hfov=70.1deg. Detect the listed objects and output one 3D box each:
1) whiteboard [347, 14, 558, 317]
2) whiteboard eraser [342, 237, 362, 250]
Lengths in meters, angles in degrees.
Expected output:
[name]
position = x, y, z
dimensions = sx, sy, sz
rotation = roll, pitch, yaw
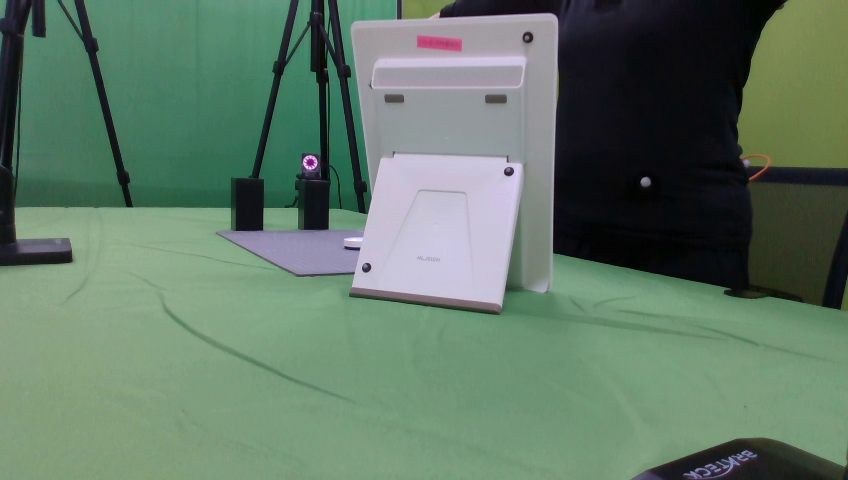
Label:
[whiteboard]
position = 0.012, -0.056, 0.609
dimensions = 0.216, 0.305, 0.144
rotation = 5, 27, 20
[whiteboard eraser]
position = -0.082, 0.004, 0.968
dimensions = 0.102, 0.019, 0.041
rotation = 0, 7, -31
